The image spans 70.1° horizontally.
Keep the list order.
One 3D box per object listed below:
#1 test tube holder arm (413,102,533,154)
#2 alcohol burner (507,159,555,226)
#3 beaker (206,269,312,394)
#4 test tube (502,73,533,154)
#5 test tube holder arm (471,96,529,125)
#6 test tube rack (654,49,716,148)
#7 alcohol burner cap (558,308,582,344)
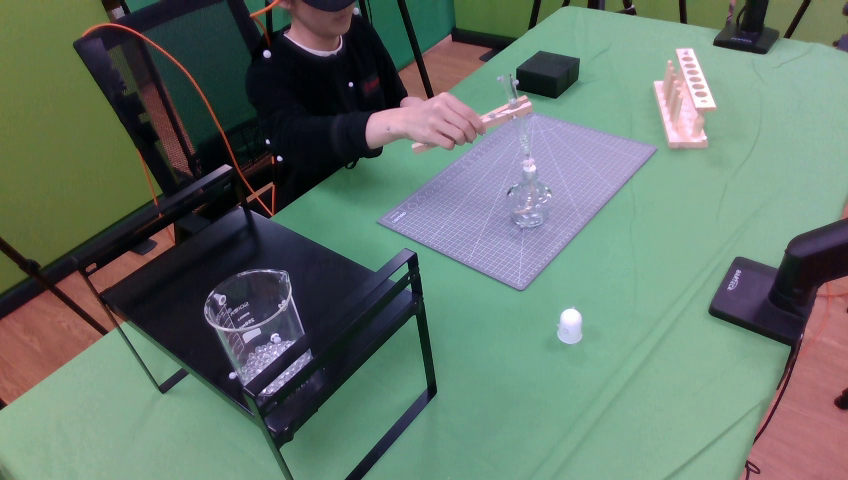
[{"bbox_3d":[0.069,-0.160,0.861,0.178,0.015,0.013,-20,48,4],"label":"test tube holder arm"},{"bbox_3d":[0.172,-0.081,0.969,0.078,0.119,0.077,-4,42,4],"label":"alcohol burner"},{"bbox_3d":[-0.146,0.086,0.560,0.073,0.101,0.084,19,47,28],"label":"beaker"},{"bbox_3d":[0.136,-0.178,0.870,0.017,0.151,0.017,-12,51,15],"label":"test tube"},{"bbox_3d":[0.109,-0.181,0.863,0.088,0.015,0.010,-26,48,-1],"label":"test tube holder arm"},{"bbox_3d":[0.502,-0.281,1.176,0.066,0.085,0.241,2,41,11],"label":"test tube rack"},{"bbox_3d":[0.194,0.111,0.802,0.034,0.048,0.033,-4,39,4],"label":"alcohol burner cap"}]
